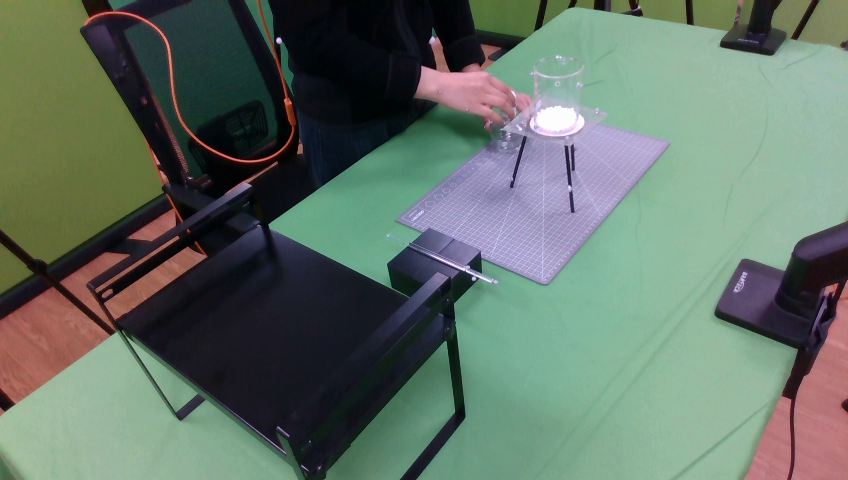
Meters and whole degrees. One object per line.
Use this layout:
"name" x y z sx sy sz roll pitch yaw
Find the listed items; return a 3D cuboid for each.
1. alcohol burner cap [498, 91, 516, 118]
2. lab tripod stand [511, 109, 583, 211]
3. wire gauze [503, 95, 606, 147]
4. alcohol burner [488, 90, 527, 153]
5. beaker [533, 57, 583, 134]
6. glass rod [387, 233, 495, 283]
"alcohol burner cap" 0.155 -0.254 1.121 0.034 0.048 0.033 -1 42 1
"lab tripod stand" 0.220 -0.138 1.014 0.148 0.132 0.147 -3 41 3
"wire gauze" 0.212 -0.191 0.976 0.120 0.011 0.125 24 52 33
"alcohol burner" 0.159 -0.226 1.143 0.078 0.120 0.077 -7 40 6
"beaker" 0.208 -0.225 0.941 0.073 0.101 0.084 11 44 20
"glass rod" 0.020 0.025 0.880 0.198 0.008 0.008 23 49 32
